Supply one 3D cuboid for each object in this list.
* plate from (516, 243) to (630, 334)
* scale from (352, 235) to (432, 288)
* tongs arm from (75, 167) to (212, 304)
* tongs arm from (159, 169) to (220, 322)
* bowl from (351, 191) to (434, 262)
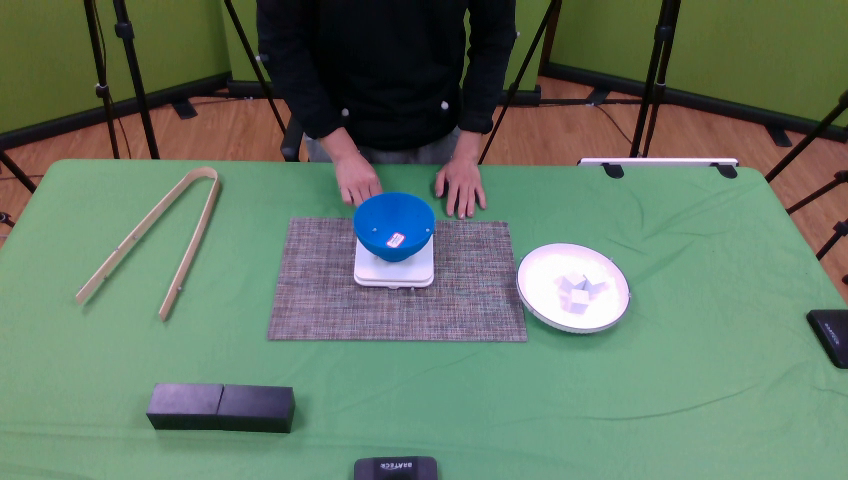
[{"bbox_3d":[0.272,0.092,1.120,0.208,0.039,0.206,2,46,-2],"label":"plate"},{"bbox_3d":[-0.059,0.010,1.171,0.149,0.032,0.199,2,46,-3],"label":"scale"},{"bbox_3d":[-0.525,-0.021,1.167,0.051,0.026,0.383,13,46,7],"label":"tongs arm"},{"bbox_3d":[-0.446,-0.005,1.164,0.028,0.028,0.385,2,46,0],"label":"tongs arm"},{"bbox_3d":[-0.057,-0.013,1.119,0.151,0.077,0.150,1,46,-1],"label":"bowl"}]
